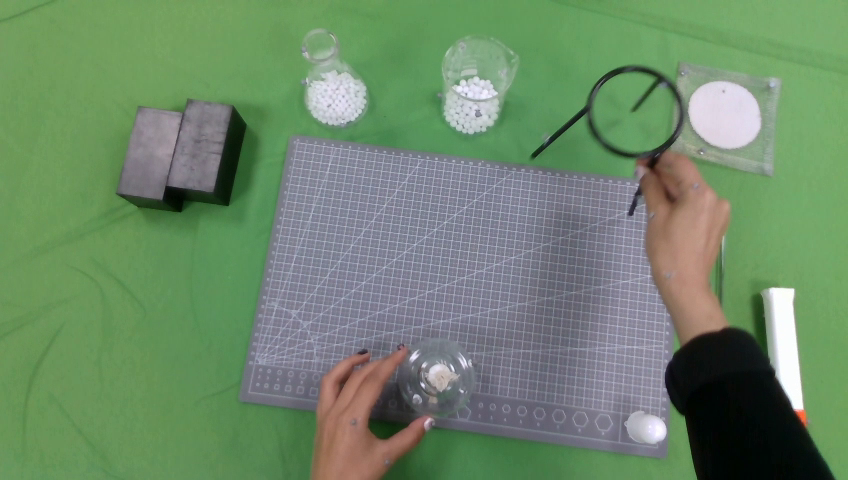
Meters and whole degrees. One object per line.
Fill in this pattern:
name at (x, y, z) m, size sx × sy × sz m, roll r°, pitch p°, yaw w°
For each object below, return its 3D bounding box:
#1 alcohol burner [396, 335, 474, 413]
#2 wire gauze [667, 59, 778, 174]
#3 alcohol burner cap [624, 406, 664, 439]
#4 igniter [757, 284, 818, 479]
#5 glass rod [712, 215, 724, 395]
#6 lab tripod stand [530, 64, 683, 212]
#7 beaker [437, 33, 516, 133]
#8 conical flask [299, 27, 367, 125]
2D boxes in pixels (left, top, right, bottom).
alcohol burner at (0.012, 0.129, 0.590) m, size 0.078 × 0.119 × 0.077 m, roll 1°, pitch 77°, yaw -2°
wire gauze at (0.349, -0.147, 0.708) m, size 0.125 × 0.011 × 0.121 m, roll 12°, pitch 79°, yaw 0°
alcohol burner cap at (0.227, 0.188, 0.617) m, size 0.034 × 0.048 × 0.033 m, roll 0°, pitch 78°, yaw -1°
igniter at (0.377, 0.184, 0.631) m, size 0.057 × 0.025 × 0.275 m, roll 3°, pitch 78°, yaw -11°
glass rod at (0.322, 0.068, 0.663) m, size 0.008 × 0.008 × 0.199 m, roll 7°, pitch 79°, yaw 1°
lab tripod stand at (0.189, -0.106, 0.616) m, size 0.148 × 0.132 × 0.148 m, roll 0°, pitch 80°, yaw 2°
beaker at (0.054, -0.167, 0.661) m, size 0.084 × 0.100 × 0.073 m, roll -19°, pitch 79°, yaw -5°
conical flask at (-0.103, -0.179, 0.650) m, size 0.075 × 0.122 × 0.075 m, roll 0°, pitch 78°, yaw 0°
